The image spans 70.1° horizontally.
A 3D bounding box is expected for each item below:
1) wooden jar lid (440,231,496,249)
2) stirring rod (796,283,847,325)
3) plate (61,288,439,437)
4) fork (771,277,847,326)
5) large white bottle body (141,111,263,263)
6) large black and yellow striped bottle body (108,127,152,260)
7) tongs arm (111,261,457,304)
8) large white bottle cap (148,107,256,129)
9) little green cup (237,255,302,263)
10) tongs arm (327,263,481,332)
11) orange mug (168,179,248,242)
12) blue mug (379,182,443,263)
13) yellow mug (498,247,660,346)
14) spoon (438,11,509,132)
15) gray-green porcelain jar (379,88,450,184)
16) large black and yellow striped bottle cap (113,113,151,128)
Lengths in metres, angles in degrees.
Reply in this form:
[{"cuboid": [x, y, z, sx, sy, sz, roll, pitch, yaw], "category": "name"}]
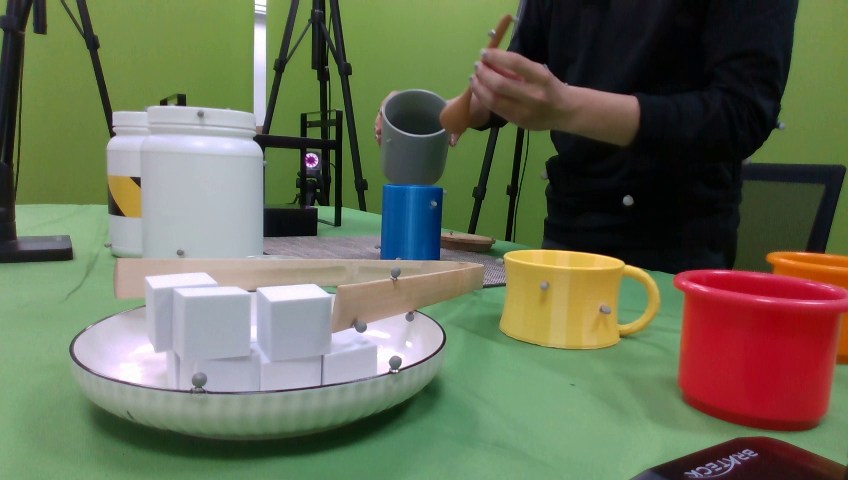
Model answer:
[{"cuboid": [0.066, 0.000, 1.011, 0.108, 0.020, 0.108, 6, 7, 0], "category": "wooden jar lid"}, {"cuboid": [0.346, 0.019, 0.460, 0.014, 0.176, 0.006, -17, 59, -26], "category": "stirring rod"}, {"cuboid": [-0.095, 0.069, 0.362, 0.208, 0.039, 0.207, 3, 7, 0], "category": "plate"}, {"cuboid": [0.335, 0.018, 0.443, 0.028, 0.018, 0.207, -1, -36, -20], "category": "fork"}, {"cuboid": [-0.254, -0.054, 0.697, 0.131, 0.184, 0.130, 2, 7, 0], "category": "large white bottle body"}, {"cuboid": [-0.350, -0.071, 0.812, 0.131, 0.184, 0.130, 2, 8, 0], "category": "large black and yellow striped bottle body"}, {"cuboid": [-0.080, 0.032, 0.527, 0.028, 0.027, 0.389, -3, -3, 33], "category": "tongs arm"}, {"cuboid": [-0.250, -0.137, 0.686, 0.115, 0.018, 0.115, 2, 8, 0], "category": "large white bottle cap"}, {"cuboid": [-0.150, 0.038, 0.590, 0.061, 0.038, 0.061, 3, 7, 0], "category": "little green cup"}, {"cuboid": [-0.003, 0.036, 0.493, 0.050, 0.026, 0.386, 1, -1, 19], "category": "tongs arm"}, {"cuboid": [-0.351, -0.051, 0.986, 0.126, 0.101, 0.083, -4, 8, -9], "category": "orange mug"}, {"cuboid": [-0.019, -0.026, 0.833, 0.082, 0.106, 0.116, 1, 7, -7], "category": "blue mug"}, {"cuboid": [0.130, 0.045, 0.508, 0.131, 0.064, 0.100, 4, 7, 6], "category": "yellow mug"}, {"cuboid": [0.060, -0.201, 0.742, 0.041, 0.193, 0.022, 34, 49, 4], "category": "spoon"}, {"cuboid": [-0.015, -0.150, 0.928, 0.106, 0.126, 0.105, 4, 52, -4], "category": "gray-green porcelain jar"}, {"cuboid": [-0.348, -0.154, 0.800, 0.115, 0.019, 0.115, 2, 6, 0], "category": "large black and yellow striped bottle cap"}]
